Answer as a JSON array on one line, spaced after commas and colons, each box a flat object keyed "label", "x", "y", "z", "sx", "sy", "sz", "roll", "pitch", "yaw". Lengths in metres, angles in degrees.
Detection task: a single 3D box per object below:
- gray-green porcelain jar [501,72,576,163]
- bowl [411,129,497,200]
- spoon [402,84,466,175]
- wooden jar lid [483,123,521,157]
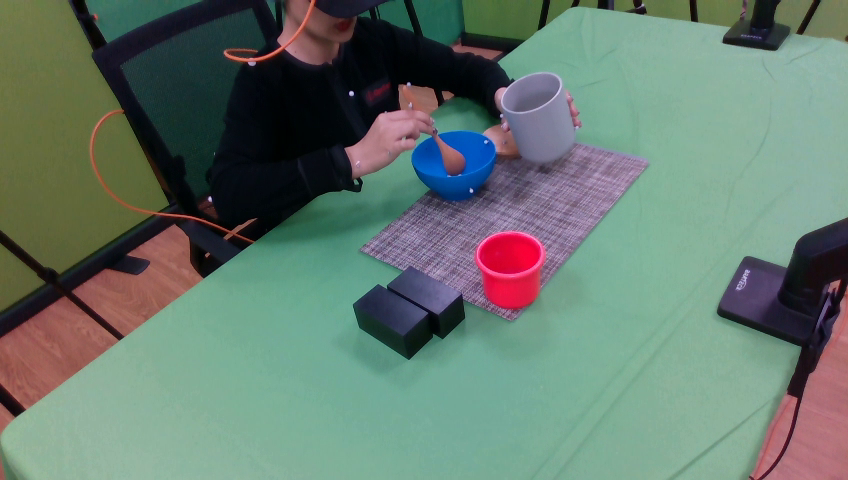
[{"label": "gray-green porcelain jar", "x": 0.200, "y": -0.205, "z": 1.039, "sx": 0.105, "sy": 0.127, "sz": 0.105, "roll": -16, "pitch": 45, "yaw": 17}, {"label": "bowl", "x": 0.056, "y": -0.124, "z": 1.069, "sx": 0.151, "sy": 0.077, "sz": 0.150, "roll": -5, "pitch": 40, "yaw": 5}, {"label": "spoon", "x": 0.016, "y": -0.179, "z": 1.003, "sx": 0.041, "sy": 0.195, "sz": 0.021, "roll": -40, "pitch": 32, "yaw": -1}, {"label": "wooden jar lid", "x": 0.165, "y": -0.194, "z": 1.177, "sx": 0.108, "sy": 0.021, "sz": 0.108, "roll": -4, "pitch": 40, "yaw": 4}]
